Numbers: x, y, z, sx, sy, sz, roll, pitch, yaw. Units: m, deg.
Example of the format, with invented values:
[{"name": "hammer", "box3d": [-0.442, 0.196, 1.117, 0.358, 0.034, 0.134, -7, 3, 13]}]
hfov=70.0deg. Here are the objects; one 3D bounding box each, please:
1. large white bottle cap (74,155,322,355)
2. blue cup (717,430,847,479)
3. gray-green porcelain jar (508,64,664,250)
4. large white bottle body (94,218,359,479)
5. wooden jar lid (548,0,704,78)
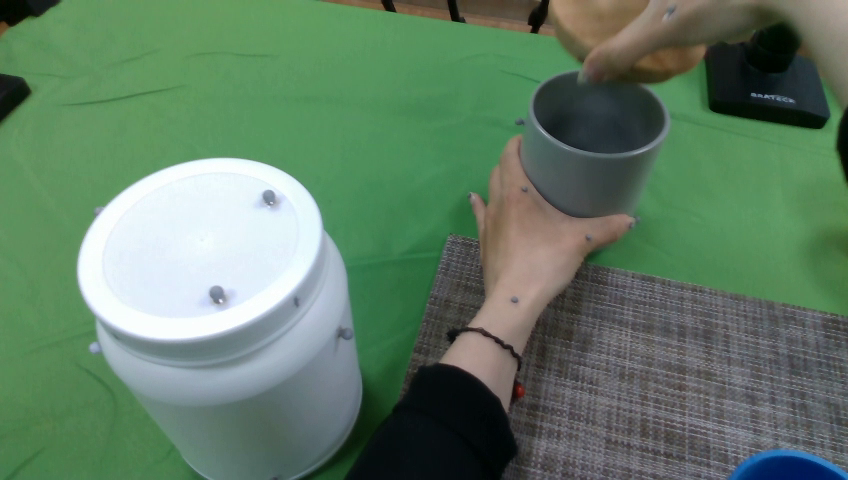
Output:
[{"name": "large white bottle cap", "box3d": [-0.109, 0.002, 0.298, 0.115, 0.018, 0.113, 1, 52, -1]}, {"name": "blue cup", "box3d": [0.186, 0.171, 0.331, 0.092, 0.101, 0.091, 0, 50, 0]}, {"name": "gray-green porcelain jar", "box3d": [0.127, -0.062, 0.503, 0.106, 0.127, 0.105, 1, 52, 0]}, {"name": "large white bottle body", "box3d": [-0.110, 0.055, 0.365, 0.131, 0.186, 0.129, 1, 51, -1]}, {"name": "wooden jar lid", "box3d": [0.134, -0.147, 0.409, 0.109, 0.021, 0.107, 8, 51, -9]}]
